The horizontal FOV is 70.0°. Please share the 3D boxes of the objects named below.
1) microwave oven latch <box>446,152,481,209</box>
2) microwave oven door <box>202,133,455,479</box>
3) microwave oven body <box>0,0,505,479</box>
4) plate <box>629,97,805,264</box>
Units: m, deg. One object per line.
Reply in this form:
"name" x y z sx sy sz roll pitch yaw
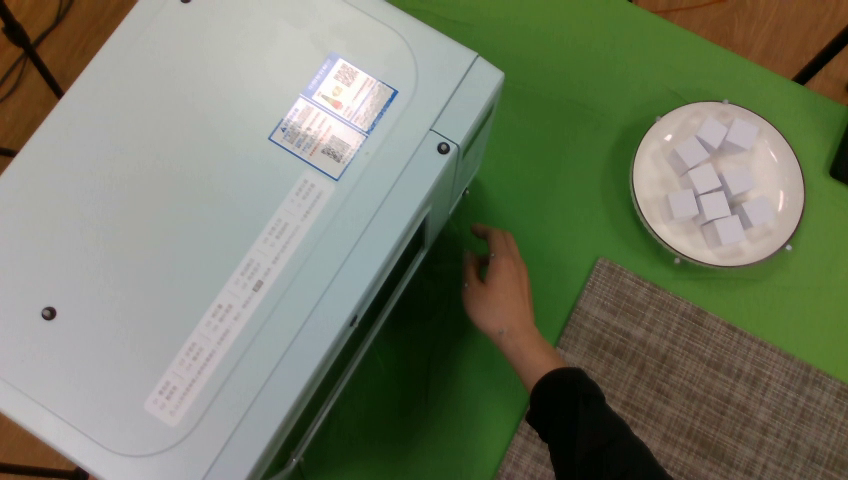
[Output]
"microwave oven latch" 0.036 -0.076 0.710 0.030 0.029 0.079 34 81 5
"microwave oven door" -0.080 0.085 0.572 0.039 0.244 0.355 31 79 6
"microwave oven body" -0.182 -0.024 0.597 0.325 0.261 0.441 31 80 5
"plate" 0.349 -0.071 0.736 0.208 0.039 0.206 0 78 -1
